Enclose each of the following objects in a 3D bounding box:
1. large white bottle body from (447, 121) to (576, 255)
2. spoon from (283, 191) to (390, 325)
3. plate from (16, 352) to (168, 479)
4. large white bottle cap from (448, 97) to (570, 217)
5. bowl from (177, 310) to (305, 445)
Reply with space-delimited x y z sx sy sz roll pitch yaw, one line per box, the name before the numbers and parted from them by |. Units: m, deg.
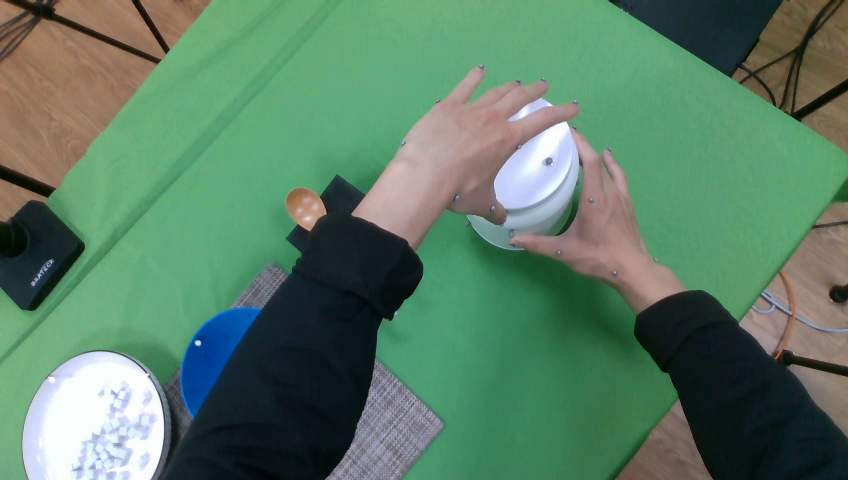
large white bottle body | 0.095 -0.062 0.652 0.130 0.185 0.130 -2 79 10
spoon | -0.102 0.023 0.711 0.041 0.022 0.193 -36 81 -4
plate | -0.410 0.246 0.761 0.209 0.038 0.208 -3 77 12
large white bottle cap | 0.079 -0.079 0.571 0.114 0.018 0.114 -2 79 11
bowl | -0.202 0.160 0.717 0.151 0.077 0.150 -2 79 10
